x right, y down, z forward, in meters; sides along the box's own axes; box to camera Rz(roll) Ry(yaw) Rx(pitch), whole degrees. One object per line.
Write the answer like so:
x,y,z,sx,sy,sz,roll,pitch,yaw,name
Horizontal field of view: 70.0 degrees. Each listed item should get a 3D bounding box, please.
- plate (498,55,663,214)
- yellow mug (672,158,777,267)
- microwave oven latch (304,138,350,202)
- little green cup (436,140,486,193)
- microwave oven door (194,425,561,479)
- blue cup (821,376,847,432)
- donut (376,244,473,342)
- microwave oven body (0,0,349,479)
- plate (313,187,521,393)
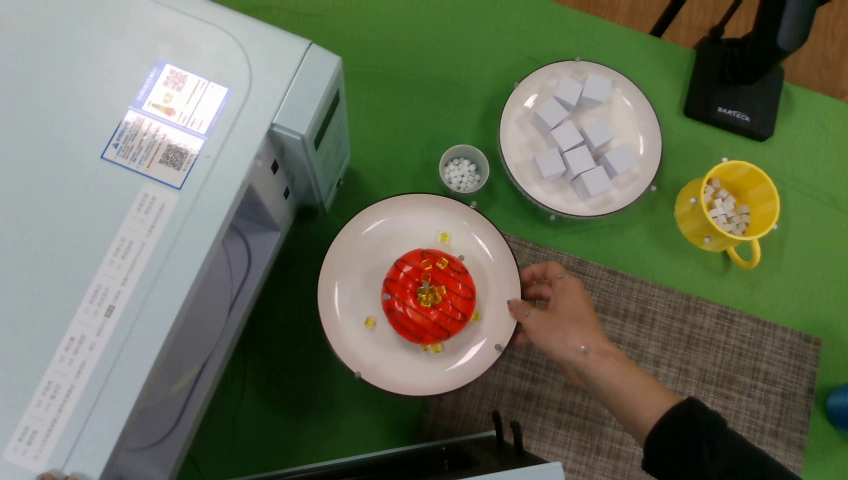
0.193,-0.130,0.763,0.208,0.039,0.206,1,78,-5,plate
0.374,-0.030,0.746,0.100,0.064,0.130,-18,81,-9,yellow mug
-0.113,-0.086,0.705,0.030,0.029,0.079,26,78,0,microwave oven latch
0.044,-0.086,0.739,0.061,0.039,0.061,1,81,-4,little green cup
-0.080,0.223,0.542,0.356,0.244,0.039,-8,78,-7,microwave oven door
0.521,0.191,0.697,0.093,0.100,0.092,2,77,-7,blue cup
0.001,0.053,0.609,0.099,0.048,0.099,1,83,-4,donut
-0.306,0.000,0.570,0.326,0.261,0.440,22,78,-1,microwave oven body
-0.007,0.050,0.621,0.209,0.038,0.208,1,80,-3,plate
